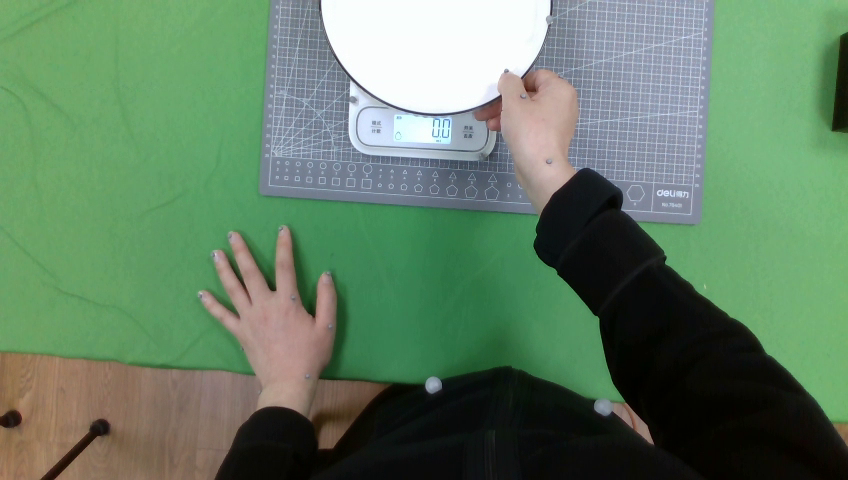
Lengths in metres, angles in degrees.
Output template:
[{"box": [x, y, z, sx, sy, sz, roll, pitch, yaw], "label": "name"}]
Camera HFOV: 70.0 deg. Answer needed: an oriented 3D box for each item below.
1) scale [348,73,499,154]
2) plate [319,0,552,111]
[{"box": [0.003, -0.190, 0.600, 0.149, 0.031, 0.201, 4, 91, -1], "label": "scale"}, {"box": [0.011, -0.216, 0.554, 0.209, 0.038, 0.208, 0, 86, -1], "label": "plate"}]
